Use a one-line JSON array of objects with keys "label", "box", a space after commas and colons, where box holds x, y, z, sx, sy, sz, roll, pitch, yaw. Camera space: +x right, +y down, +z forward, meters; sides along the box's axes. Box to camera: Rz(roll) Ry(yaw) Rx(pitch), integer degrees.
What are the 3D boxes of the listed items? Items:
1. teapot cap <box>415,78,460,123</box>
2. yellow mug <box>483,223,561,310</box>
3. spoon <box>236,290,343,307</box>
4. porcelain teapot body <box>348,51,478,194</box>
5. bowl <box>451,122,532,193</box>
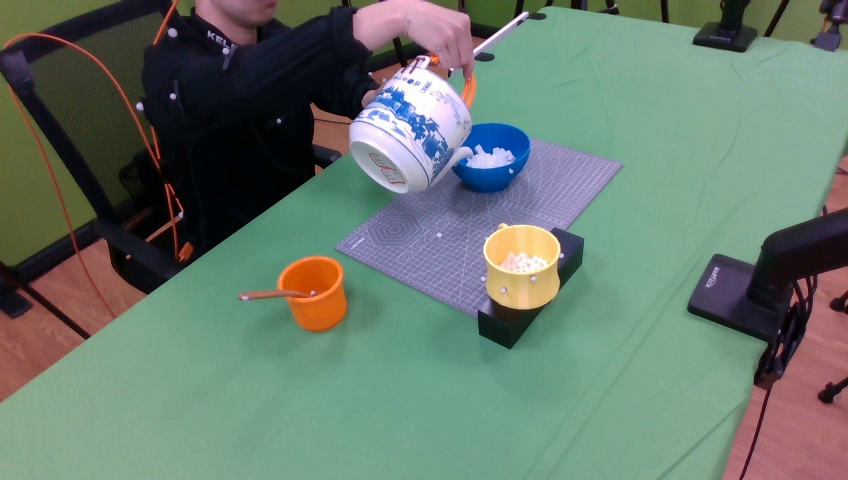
[{"label": "teapot cap", "box": [0.023, -0.216, 0.925, 0.084, 0.086, 0.044, 24, 64, 32]}, {"label": "yellow mug", "box": [0.125, 0.025, 0.811, 0.100, 0.064, 0.130, -16, 39, -10]}, {"label": "spoon", "box": [-0.176, 0.076, 0.808, 0.041, 0.195, 0.021, 22, 93, 30]}, {"label": "porcelain teapot body", "box": [0.010, -0.170, 0.932, 0.144, 0.207, 0.225, 21, 65, 40]}, {"label": "bowl", "box": [0.113, -0.136, 1.063, 0.151, 0.077, 0.150, -4, 41, 4]}]
